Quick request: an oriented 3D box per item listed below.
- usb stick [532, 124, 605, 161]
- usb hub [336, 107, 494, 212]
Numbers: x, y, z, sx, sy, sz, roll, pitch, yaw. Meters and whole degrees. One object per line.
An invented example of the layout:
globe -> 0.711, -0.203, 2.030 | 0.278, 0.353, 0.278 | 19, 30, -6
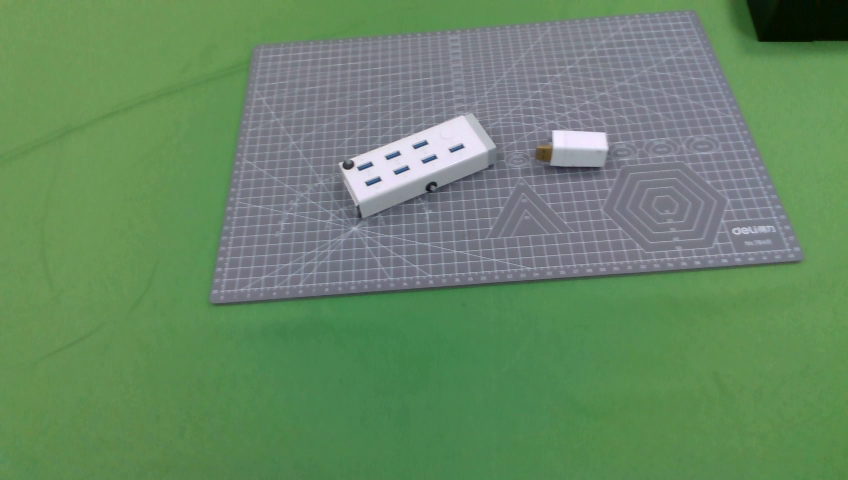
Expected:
usb stick -> 0.119, -0.081, 0.507 | 0.059, 0.022, 0.027 | 1, 47, 2
usb hub -> -0.007, -0.070, 0.508 | 0.125, 0.025, 0.049 | -23, 58, -11
